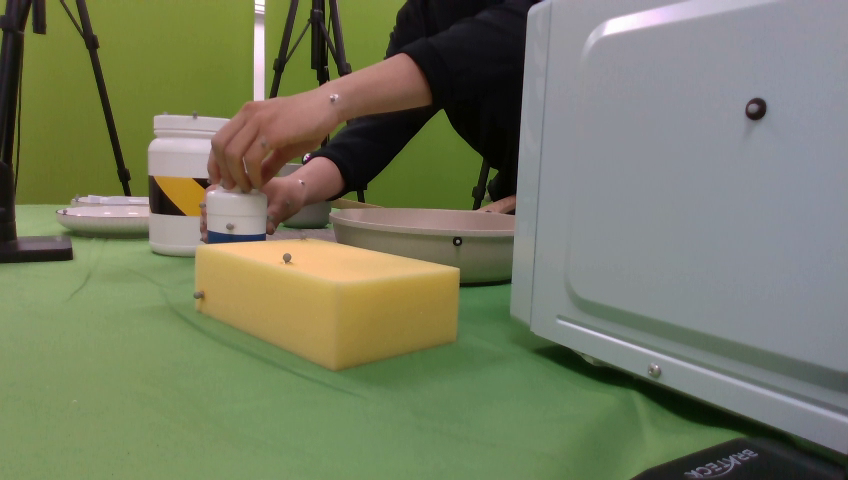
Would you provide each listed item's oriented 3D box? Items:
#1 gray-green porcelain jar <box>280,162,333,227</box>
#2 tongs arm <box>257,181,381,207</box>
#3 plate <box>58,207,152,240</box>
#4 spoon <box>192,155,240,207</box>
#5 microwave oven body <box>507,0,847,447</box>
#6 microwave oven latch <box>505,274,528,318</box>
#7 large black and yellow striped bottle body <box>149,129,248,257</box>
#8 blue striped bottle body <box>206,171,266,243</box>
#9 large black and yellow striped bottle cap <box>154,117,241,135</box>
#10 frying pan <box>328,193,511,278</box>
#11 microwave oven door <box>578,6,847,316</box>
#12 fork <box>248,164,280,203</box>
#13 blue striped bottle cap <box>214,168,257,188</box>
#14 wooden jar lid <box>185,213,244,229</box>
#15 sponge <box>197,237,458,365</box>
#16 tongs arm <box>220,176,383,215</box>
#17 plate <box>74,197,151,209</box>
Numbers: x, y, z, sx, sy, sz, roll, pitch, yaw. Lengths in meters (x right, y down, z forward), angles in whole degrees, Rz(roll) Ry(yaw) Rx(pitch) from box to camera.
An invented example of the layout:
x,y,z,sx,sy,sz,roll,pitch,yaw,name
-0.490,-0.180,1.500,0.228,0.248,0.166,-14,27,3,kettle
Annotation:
x,y,z,sx,sy,sz,roll,pitch,yaw,name
-0.238,-0.092,1.221,0.106,0.126,0.106,2,7,0,gray-green porcelain jar
-0.241,-0.095,1.373,0.387,0.026,0.050,9,0,-37,tongs arm
-0.496,-0.030,1.021,0.209,0.038,0.209,2,8,0,plate
-0.489,-0.135,1.417,0.041,0.021,0.194,3,-36,20,spoon
0.331,-0.042,0.425,0.444,0.260,0.324,-2,8,-31,microwave oven body
0.100,0.041,0.473,0.079,0.029,0.030,-2,8,-31,microwave oven latch
-0.315,-0.075,0.854,0.131,0.184,0.130,2,7,0,large black and yellow striped bottle body
-0.205,-0.015,0.662,0.063,0.120,0.063,2,5,0,blue striped bottle body
-0.314,-0.158,0.843,0.115,0.019,0.115,3,7,0,large black and yellow striped bottle cap
0.072,-0.030,0.883,0.305,0.102,0.490,7,17,28,frying pan
0.294,-0.067,0.570,0.358,0.243,0.039,-3,9,-31,microwave oven door
-0.398,-0.144,1.489,0.028,0.018,0.208,21,-24,47,fork
-0.204,-0.066,0.658,0.044,0.020,0.044,7,10,-1,blue striped bottle cap
-0.404,-0.037,1.169,0.108,0.020,0.108,3,7,0,wooden jar lid
-0.087,0.039,0.500,0.206,0.061,0.119,8,9,44,sponge
-0.285,-0.104,1.445,0.389,0.027,0.028,9,-4,-23,tongs arm
-0.596,-0.062,1.238,0.208,0.039,0.207,2,8,0,plate
